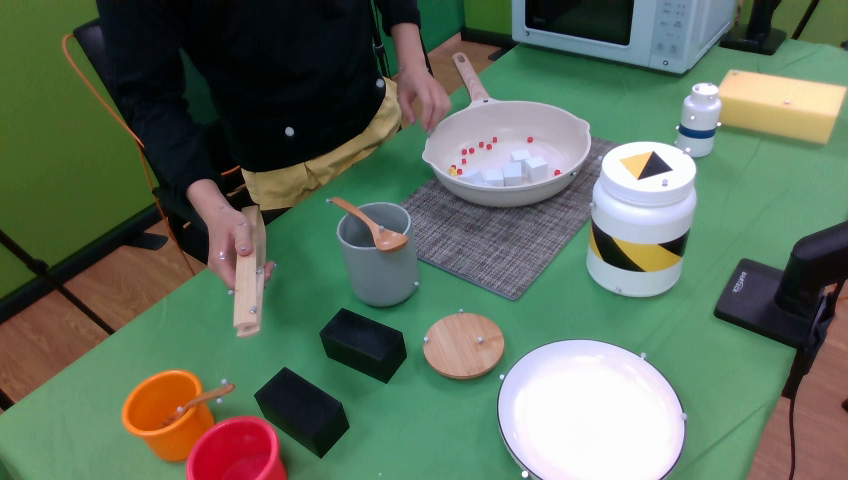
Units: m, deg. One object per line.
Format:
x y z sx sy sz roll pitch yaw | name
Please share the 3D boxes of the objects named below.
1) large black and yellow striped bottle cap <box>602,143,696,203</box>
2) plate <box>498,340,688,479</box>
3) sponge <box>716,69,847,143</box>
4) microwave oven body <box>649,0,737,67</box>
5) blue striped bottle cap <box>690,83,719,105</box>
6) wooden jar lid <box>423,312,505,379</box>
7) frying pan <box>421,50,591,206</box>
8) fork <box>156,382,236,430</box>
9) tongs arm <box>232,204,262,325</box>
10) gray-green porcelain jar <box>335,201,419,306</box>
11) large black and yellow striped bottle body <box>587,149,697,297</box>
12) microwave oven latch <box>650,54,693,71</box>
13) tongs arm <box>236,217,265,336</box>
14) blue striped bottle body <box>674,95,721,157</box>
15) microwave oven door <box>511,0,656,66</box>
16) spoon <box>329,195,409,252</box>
0.289 -0.088 0.778 0.115 0.019 0.114 -4 40 4 | large black and yellow striped bottle cap
0.189 0.206 0.692 0.207 0.039 0.206 -4 40 4 | plate
0.663 -0.256 1.142 0.205 0.061 0.118 19 47 28 | sponge
0.475 -0.602 1.411 0.438 0.261 0.327 23 50 32 | microwave oven body
0.481 -0.251 1.038 0.044 0.021 0.044 -5 39 5 | blue striped bottle cap
0.053 0.142 0.800 0.108 0.021 0.108 -5 39 4 | wooden jar lid
0.127 -0.233 1.155 0.307 0.103 0.484 -11 49 -5 | frying pan
-0.262 0.189 0.690 0.018 0.206 0.028 49 43 -7 | fork
-0.238 0.025 0.828 0.026 0.051 0.382 -12 29 -10 | tongs arm
-0.064 0.024 0.872 0.106 0.127 0.105 -4 41 4 | gray-green porcelain jar
0.298 -0.026 0.835 0.131 0.185 0.130 -4 41 4 | large black and yellow striped bottle body
0.531 -0.386 1.301 0.078 0.029 0.030 26 51 33 | microwave oven latch
-0.237 0.037 0.833 0.028 0.028 0.385 -15 22 -8 | tongs arm
0.486 -0.213 1.072 0.063 0.121 0.063 -4 41 4 | blue striped bottle body
0.350 -0.539 1.348 0.353 0.245 0.039 24 50 31 | microwave oven door
-0.082 -0.029 0.828 0.042 0.022 0.192 -33 43 -20 | spoon
